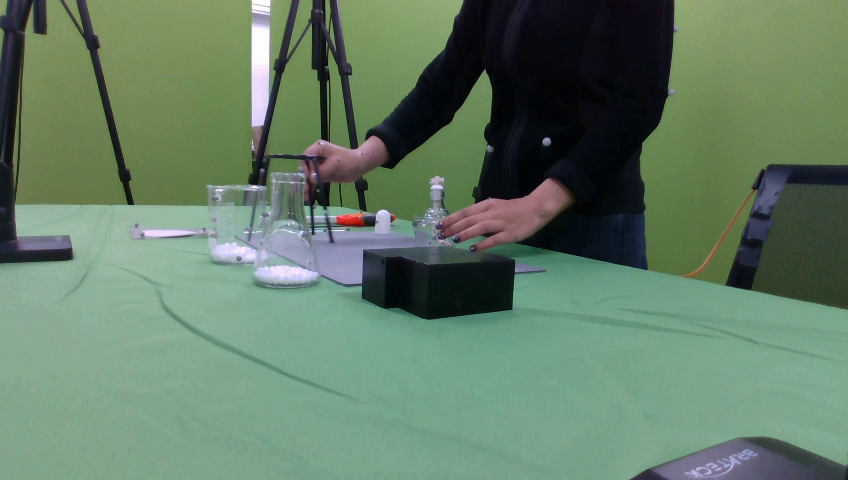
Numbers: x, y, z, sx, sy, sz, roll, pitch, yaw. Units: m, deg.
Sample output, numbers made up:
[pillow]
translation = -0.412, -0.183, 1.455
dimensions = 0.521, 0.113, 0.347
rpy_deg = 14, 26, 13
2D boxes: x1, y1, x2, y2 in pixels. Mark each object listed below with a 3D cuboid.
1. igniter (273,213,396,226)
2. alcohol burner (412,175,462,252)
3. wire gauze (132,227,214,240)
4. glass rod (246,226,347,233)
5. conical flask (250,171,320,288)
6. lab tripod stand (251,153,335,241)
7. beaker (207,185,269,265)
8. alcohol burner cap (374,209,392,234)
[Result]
[igniter]
translation = -0.178, -0.044, 1.258
dimensions = 0.278, 0.025, 0.057
rpy_deg = -3, -2, -39
[alcohol burner]
translation = 0.020, -0.041, 0.948
dimensions = 0.078, 0.119, 0.078
rpy_deg = 0, 7, 0
[wire gauze]
translation = -0.425, -0.013, 1.018
dimensions = 0.122, 0.011, 0.124
rpy_deg = -1, 6, -28
[glass rod]
translation = -0.236, -0.020, 1.140
dimensions = 0.201, 0.008, 0.008
rpy_deg = -3, 9, -33
[conical flask]
translation = -0.150, -0.013, 0.658
dimensions = 0.075, 0.122, 0.075
rpy_deg = 2, 7, 0
[lab tripod stand]
translation = -0.188, -0.067, 0.928
dimensions = 0.148, 0.131, 0.148
rpy_deg = 2, 6, 0
[beaker]
translation = -0.244, -0.021, 0.784
dimensions = 0.083, 0.100, 0.074
rpy_deg = 6, 8, 30
[alcohol burner cap]
translation = -0.078, -0.036, 1.148
dimensions = 0.034, 0.048, 0.034
rpy_deg = 2, 7, 0
